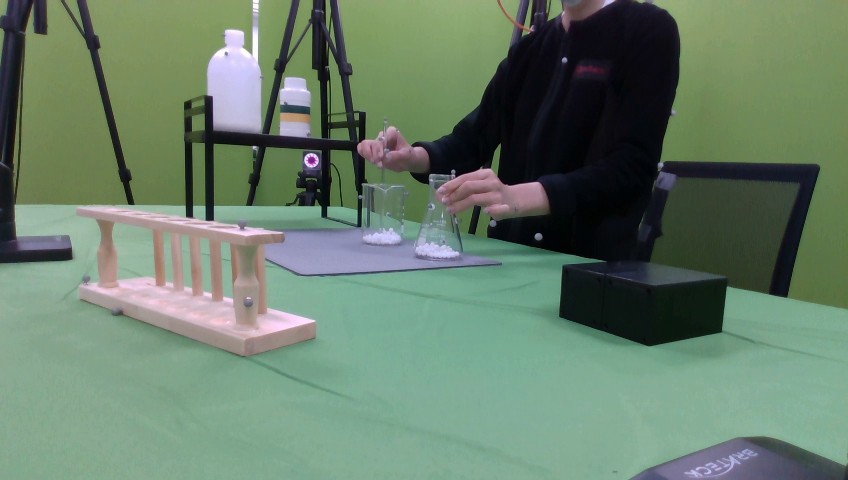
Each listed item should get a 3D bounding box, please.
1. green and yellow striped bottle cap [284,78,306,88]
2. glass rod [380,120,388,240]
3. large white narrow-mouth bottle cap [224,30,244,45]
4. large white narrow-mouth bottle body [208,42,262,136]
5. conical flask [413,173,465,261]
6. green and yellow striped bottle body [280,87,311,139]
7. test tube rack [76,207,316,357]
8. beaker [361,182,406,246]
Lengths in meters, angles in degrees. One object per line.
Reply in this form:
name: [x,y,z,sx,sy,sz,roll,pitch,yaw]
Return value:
green and yellow striped bottle cap: [-0.268,-0.325,1.259,0.045,0.020,0.045,5,7,0]
glass rod: [-0.067,-0.099,1.007,0.008,0.199,0.008,2,6,0]
large white narrow-mouth bottle cap: [-0.365,-0.389,1.166,0.038,0.024,0.037,2,9,0]
large white narrow-mouth bottle body: [-0.369,-0.304,1.181,0.102,0.194,0.101,2,9,0]
conical flask: [0.024,-0.034,0.868,0.075,0.122,0.075,2,7,0]
green and yellow striped bottle body: [-0.269,-0.274,1.266,0.063,0.119,0.063,3,7,0]
test tube rack: [-0.196,0.023,0.500,0.241,0.085,0.067,8,9,36]
beaker: [-0.067,-0.042,0.993,0.074,0.100,0.084,1,8,-8]
